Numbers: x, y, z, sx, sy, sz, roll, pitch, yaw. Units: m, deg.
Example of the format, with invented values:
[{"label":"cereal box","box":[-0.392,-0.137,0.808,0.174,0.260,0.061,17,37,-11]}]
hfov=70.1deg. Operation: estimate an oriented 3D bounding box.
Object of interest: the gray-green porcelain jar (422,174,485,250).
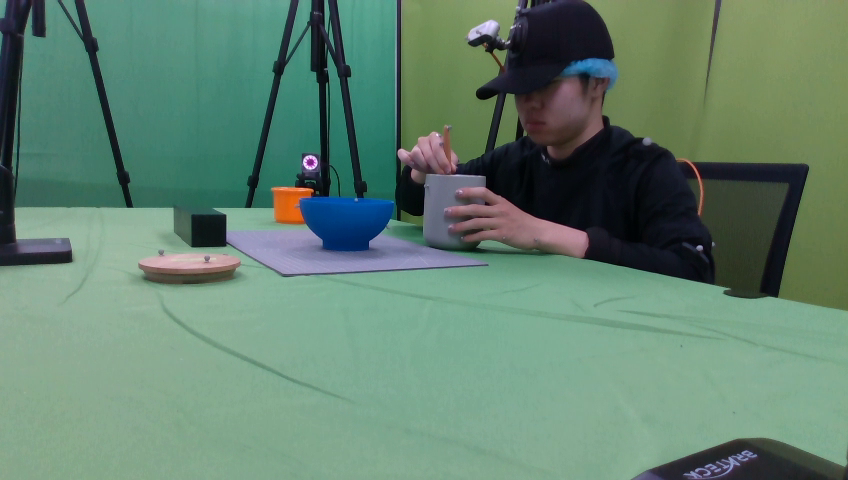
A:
[{"label":"gray-green porcelain jar","box":[0.050,-0.049,1.040,0.106,0.126,0.106,2,8,0]}]

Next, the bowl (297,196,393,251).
[{"label":"bowl","box":[-0.125,-0.026,0.957,0.151,0.077,0.151,2,7,0]}]

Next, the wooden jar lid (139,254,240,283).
[{"label":"wooden jar lid","box":[-0.269,0.032,0.697,0.108,0.020,0.108,2,5,0]}]

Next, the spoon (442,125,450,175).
[{"label":"spoon","box":[0.035,-0.097,1.026,0.022,0.193,0.041,0,6,-29]}]
